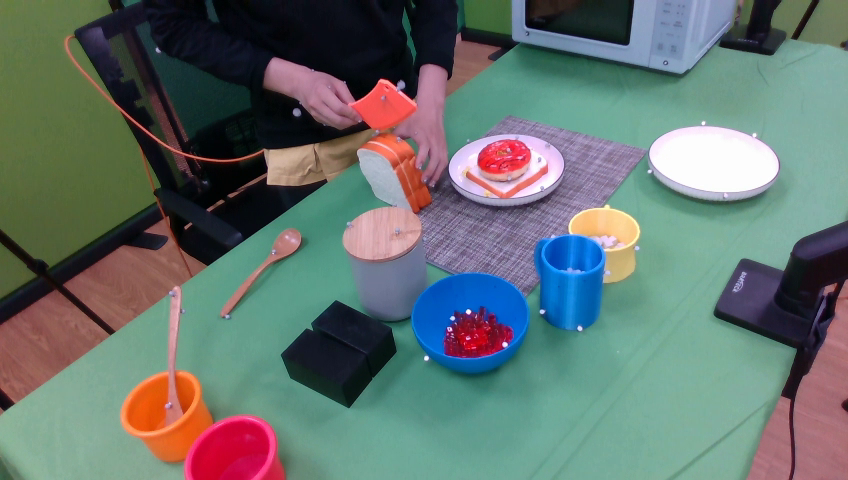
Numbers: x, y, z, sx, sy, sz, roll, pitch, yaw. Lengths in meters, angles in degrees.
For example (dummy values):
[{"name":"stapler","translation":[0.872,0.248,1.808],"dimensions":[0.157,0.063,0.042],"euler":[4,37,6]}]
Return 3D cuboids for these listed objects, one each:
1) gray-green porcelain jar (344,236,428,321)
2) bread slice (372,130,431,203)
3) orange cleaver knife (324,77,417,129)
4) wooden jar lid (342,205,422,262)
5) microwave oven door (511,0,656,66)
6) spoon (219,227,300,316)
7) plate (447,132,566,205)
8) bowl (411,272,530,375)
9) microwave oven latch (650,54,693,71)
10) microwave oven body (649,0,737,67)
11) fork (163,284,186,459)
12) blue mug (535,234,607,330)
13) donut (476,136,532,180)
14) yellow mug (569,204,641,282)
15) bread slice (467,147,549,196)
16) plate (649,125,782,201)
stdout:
[{"name":"gray-green porcelain jar","translation":[-0.049,0.042,0.849],"dimensions":[0.106,0.127,0.105],"euler":[-4,41,4]},{"name":"bread slice","translation":[-0.042,-0.127,1.040],"dimensions":[0.106,0.135,0.018],"euler":[29,61,34]},{"name":"orange cleaver knife","translation":[-0.089,-0.207,0.964],"dimensions":[0.210,0.078,0.012],"euler":[-6,48,52]},{"name":"wooden jar lid","translation":[-0.055,-0.005,0.808],"dimensions":[0.108,0.021,0.108],"euler":[-6,41,6]},{"name":"microwave oven door","translation":[0.351,-0.540,1.349],"dimensions":[0.353,0.245,0.039],"euler":[24,50,31]},{"name":"spoon","translation":[-0.261,0.046,0.954],"dimensions":[0.041,0.021,0.194],"euler":[27,48,10]},{"name":"plate","translation":[0.146,-0.124,1.076],"dimensions":[0.209,0.038,0.208],"euler":[-4,41,4]},{"name":"bowl","translation":[0.061,0.120,0.780],"dimensions":[0.151,0.077,0.150],"euler":[-4,40,4]},{"name":"microwave oven latch","translation":[0.531,-0.386,1.301],"dimensions":[0.078,0.029,0.030],"euler":[26,51,33]},{"name":"microwave oven body","translation":[0.475,-0.602,1.411],"dimensions":[0.438,0.261,0.327],"euler":[23,50,32]},{"name":"fork","translation":[-0.302,0.157,0.733],"dimensions":[0.028,0.019,0.207],"euler":[-3,84,15]},{"name":"blue mug","translation":[0.191,0.048,0.824],"dimensions":[0.082,0.106,0.115],"euler":[-26,44,-20]},{"name":"donut","translation":[0.140,-0.146,1.059],"dimensions":[0.099,0.048,0.098],"euler":[-7,41,6]},{"name":"yellow mug","translation":[0.268,-0.005,0.904],"dimensions":[0.099,0.064,0.130],"euler":[7,41,15]},{"name":"bread slice","translation":[0.156,-0.128,1.084],"dimensions":[0.132,0.019,0.104],"euler":[-34,48,-23]},{"name":"plate","translation":[0.493,-0.127,1.036],"dimensions":[0.207,0.039,0.206],"euler":[-4,41,4]}]
